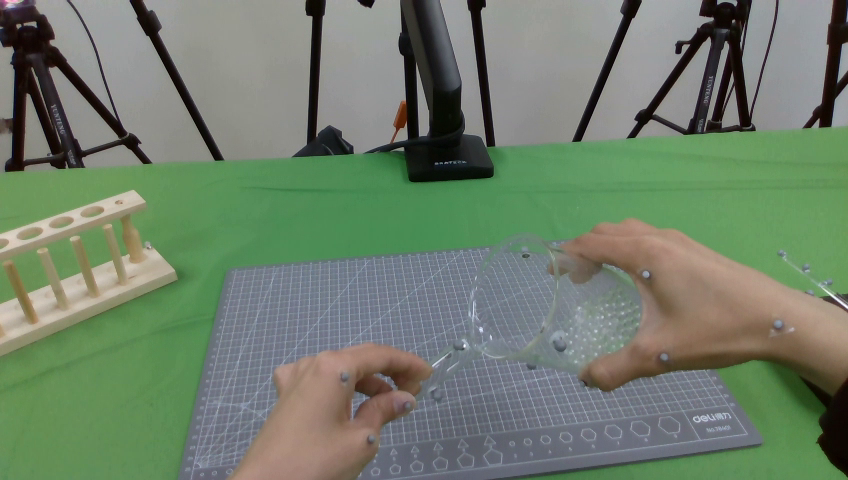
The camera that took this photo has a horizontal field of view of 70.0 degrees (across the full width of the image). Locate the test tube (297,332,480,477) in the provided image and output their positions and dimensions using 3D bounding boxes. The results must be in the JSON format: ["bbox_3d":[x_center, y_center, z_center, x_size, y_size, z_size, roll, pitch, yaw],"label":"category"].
[{"bbox_3d":[-0.026,0.106,0.381,0.150,0.017,0.017,-40,32,15],"label":"test tube"}]

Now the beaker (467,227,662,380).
[{"bbox_3d":[0.086,0.045,0.369,0.101,0.084,0.073,18,30,-31],"label":"beaker"}]

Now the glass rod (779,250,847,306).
[{"bbox_3d":[0.379,0.064,0.517,0.008,0.008,0.197,-10,35,-13],"label":"glass rod"}]

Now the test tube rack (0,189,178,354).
[{"bbox_3d":[-0.377,0.039,0.584,0.242,0.086,0.066,-27,43,-33],"label":"test tube rack"}]
